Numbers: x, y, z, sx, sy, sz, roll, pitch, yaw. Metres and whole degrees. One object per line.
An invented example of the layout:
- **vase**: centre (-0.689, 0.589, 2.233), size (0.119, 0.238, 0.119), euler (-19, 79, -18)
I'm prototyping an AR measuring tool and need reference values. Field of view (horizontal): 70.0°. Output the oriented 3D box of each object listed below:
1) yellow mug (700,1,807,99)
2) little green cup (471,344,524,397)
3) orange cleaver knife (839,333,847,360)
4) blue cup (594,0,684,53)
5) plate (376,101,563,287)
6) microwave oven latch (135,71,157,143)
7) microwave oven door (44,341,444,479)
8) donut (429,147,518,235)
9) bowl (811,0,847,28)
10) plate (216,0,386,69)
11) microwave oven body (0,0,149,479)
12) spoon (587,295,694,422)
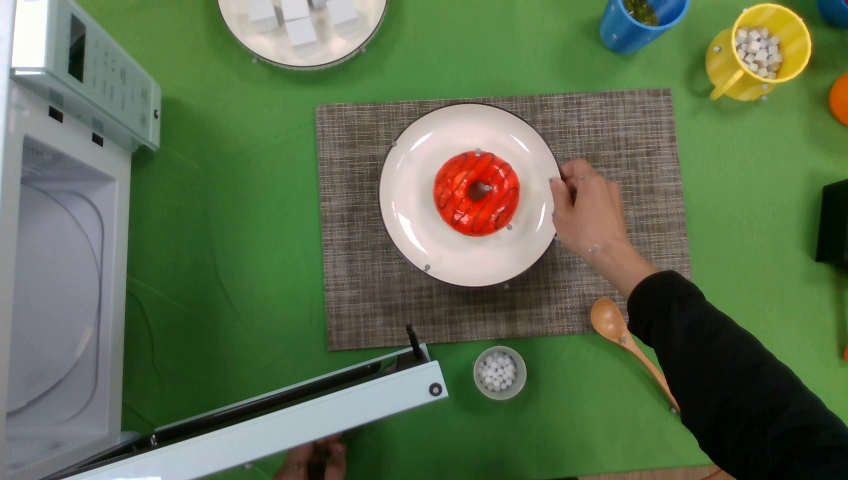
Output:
- **yellow mug**: centre (0.397, -0.224, 0.752), size (0.100, 0.064, 0.131), euler (44, 85, 2)
- **little green cup**: centre (0.083, 0.152, 0.711), size (0.061, 0.039, 0.061), euler (0, 82, -2)
- **orange cleaver knife**: centre (0.540, 0.044, 0.724), size (0.012, 0.077, 0.212), euler (11, 113, 1)
- **blue cup**: centre (0.251, -0.274, 0.733), size (0.093, 0.100, 0.092), euler (0, 85, -3)
- **plate**: centre (0.050, -0.051, 0.683), size (0.209, 0.038, 0.208), euler (0, 86, -3)
- **microwave oven latch**: centre (-0.328, -0.154, 0.703), size (0.030, 0.029, 0.079), euler (1, 85, -3)
- **microwave oven door**: centre (-0.159, 0.172, 0.576), size (0.356, 0.244, 0.039), euler (-17, 84, -5)
- **donut**: centre (0.055, -0.054, 0.672), size (0.099, 0.048, 0.099), euler (0, 86, -1)
- **bowl**: centre (0.550, -0.326, 0.765), size (0.151, 0.077, 0.151), euler (0, 85, -2)
- **plate**: centre (-0.149, -0.306, 0.747), size (0.208, 0.039, 0.207), euler (0, 84, -3)
- **microwave oven body**: centre (-0.469, 0.012, 0.581), size (0.326, 0.260, 0.440), euler (-1, 85, -3)
- **spoon**: centre (0.261, 0.145, 0.726), size (0.041, 0.021, 0.193), euler (-40, 89, -21)
